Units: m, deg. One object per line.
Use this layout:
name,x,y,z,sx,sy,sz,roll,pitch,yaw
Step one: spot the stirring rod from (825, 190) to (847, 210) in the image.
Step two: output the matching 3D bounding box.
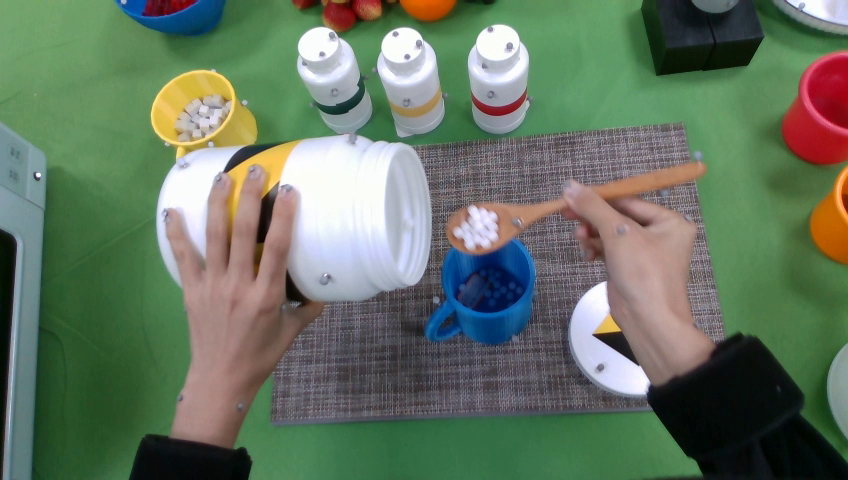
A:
stirring rod,0.408,-0.010,0.537,0.014,0.006,0.175,-1,26,4

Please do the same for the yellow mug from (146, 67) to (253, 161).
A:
yellow mug,-0.262,-0.128,0.703,0.100,0.064,0.130,5,71,9

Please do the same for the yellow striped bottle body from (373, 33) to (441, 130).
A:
yellow striped bottle body,-0.018,-0.178,0.662,0.063,0.121,0.062,-3,69,7

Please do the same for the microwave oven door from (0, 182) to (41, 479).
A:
microwave oven door,-0.444,0.082,0.536,0.039,0.245,0.353,-13,69,3

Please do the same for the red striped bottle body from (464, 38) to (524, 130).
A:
red striped bottle body,0.075,-0.175,0.649,0.063,0.120,0.062,-2,68,7

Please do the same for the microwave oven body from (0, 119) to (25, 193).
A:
microwave oven body,-0.594,0.077,0.562,0.326,0.262,0.438,-13,69,2

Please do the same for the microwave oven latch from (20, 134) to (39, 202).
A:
microwave oven latch,-0.471,-0.082,0.709,0.030,0.030,0.078,-12,70,2

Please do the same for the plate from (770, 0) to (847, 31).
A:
plate,0.480,-0.322,0.695,0.209,0.038,0.207,-2,70,6

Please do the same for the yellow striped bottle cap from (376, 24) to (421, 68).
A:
yellow striped bottle cap,-0.026,-0.197,0.613,0.044,0.019,0.044,-1,67,2

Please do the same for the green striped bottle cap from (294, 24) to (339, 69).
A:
green striped bottle cap,-0.111,-0.200,0.626,0.044,0.020,0.044,-3,67,7

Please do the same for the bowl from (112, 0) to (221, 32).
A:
bowl,-0.314,-0.322,0.776,0.151,0.077,0.150,-2,70,6

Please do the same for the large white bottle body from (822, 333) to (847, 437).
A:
large white bottle body,0.416,0.108,0.465,0.130,0.186,0.129,-2,69,7

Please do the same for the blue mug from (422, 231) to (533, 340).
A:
blue mug,0.046,0.053,0.571,0.116,0.106,0.081,-37,68,-7

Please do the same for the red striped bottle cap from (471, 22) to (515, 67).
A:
red striped bottle cap,0.069,-0.194,0.600,0.044,0.018,0.044,-1,68,3

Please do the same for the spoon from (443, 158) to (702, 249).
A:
spoon,0.105,-0.030,0.453,0.193,0.022,0.041,-15,69,23

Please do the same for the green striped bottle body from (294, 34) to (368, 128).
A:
green striped bottle body,-0.104,-0.182,0.675,0.063,0.120,0.063,-2,69,7

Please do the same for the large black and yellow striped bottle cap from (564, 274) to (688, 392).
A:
large black and yellow striped bottle cap,0.195,0.088,0.588,0.115,0.019,0.114,-2,68,6

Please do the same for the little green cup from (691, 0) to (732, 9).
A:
little green cup,0.312,-0.280,0.647,0.061,0.039,0.061,-2,67,5

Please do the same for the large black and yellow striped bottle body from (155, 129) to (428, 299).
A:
large black and yellow striped bottle body,-0.099,-0.019,0.486,0.183,0.132,0.130,-3,69,17

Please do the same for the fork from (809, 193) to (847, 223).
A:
fork,0.437,-0.011,0.525,0.028,0.019,0.205,-34,25,-11
